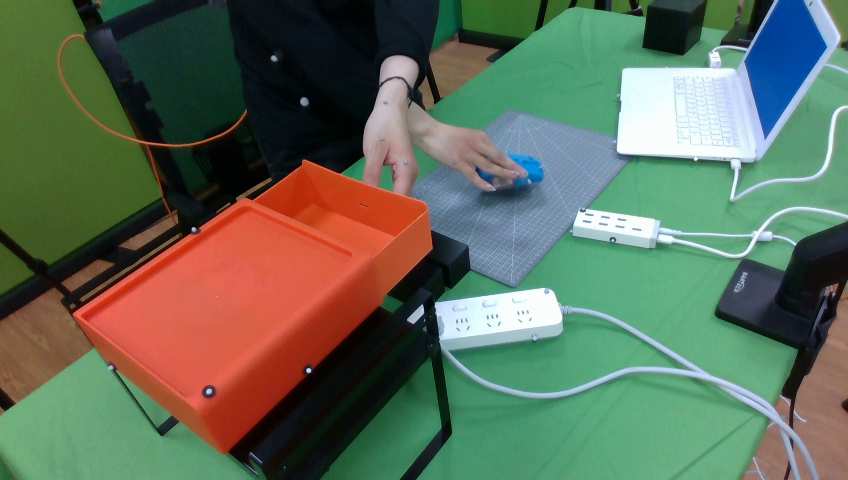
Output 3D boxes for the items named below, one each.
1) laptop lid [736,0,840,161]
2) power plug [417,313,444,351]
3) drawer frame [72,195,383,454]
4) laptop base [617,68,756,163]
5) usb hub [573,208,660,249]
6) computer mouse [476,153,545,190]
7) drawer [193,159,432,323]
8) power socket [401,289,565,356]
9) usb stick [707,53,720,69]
[{"bbox_3d":[0.641,-0.327,1.090,0.013,0.242,0.356,17,43,5],"label":"laptop lid"},{"bbox_3d":[0.007,0.126,0.786,0.035,0.053,0.072,1,43,8],"label":"power plug"},{"bbox_3d":[-0.184,0.067,0.598,0.200,0.083,0.214,22,49,30],"label":"drawer frame"},{"bbox_3d":[0.509,-0.255,1.201,0.234,0.023,0.353,4,41,16],"label":"laptop base"},{"bbox_3d":[0.302,-0.019,0.949,0.124,0.025,0.049,11,42,20],"label":"usb hub"},{"bbox_3d":[0.148,-0.122,1.043,0.117,0.041,0.062,-6,39,-4],"label":"computer mouse"},{"bbox_3d":[-0.129,0.013,0.654,0.193,0.073,0.212,22,48,30],"label":"drawer"},{"bbox_3d":[0.081,0.112,0.822,0.227,0.033,0.072,-7,41,-1],"label":"power socket"},{"bbox_3d":[0.629,-0.382,1.313,0.021,0.027,0.059,2,46,17],"label":"usb stick"}]
